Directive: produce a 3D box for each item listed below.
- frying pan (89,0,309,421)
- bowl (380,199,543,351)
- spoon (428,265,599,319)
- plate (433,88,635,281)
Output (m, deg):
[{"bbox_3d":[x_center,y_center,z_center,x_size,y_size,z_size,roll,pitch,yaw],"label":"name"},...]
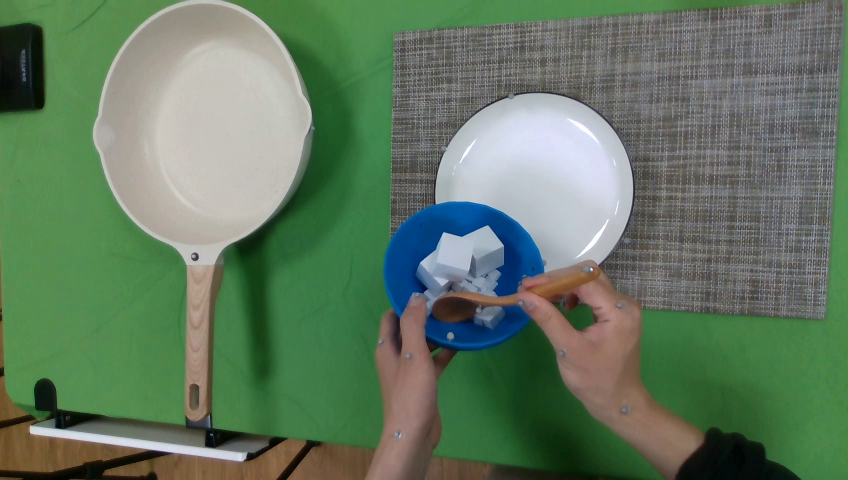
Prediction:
[{"bbox_3d":[-0.267,-0.031,0.731,0.306,0.103,0.486,0,84,19],"label":"frying pan"},{"bbox_3d":[0.032,0.044,0.584,0.151,0.077,0.150,2,61,-4],"label":"bowl"},{"bbox_3d":[0.068,0.046,0.505,0.193,0.042,0.021,-18,46,53],"label":"spoon"},{"bbox_3d":[0.113,-0.052,0.640,0.207,0.039,0.207,1,93,18],"label":"plate"}]
